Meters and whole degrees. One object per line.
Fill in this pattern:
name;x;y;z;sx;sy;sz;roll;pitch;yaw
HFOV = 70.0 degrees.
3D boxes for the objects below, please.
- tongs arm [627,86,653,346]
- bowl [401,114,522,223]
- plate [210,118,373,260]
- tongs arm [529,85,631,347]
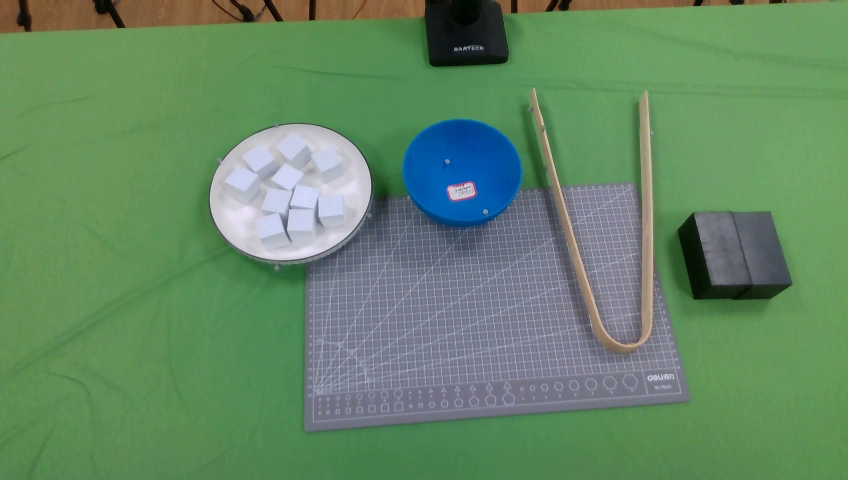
tongs arm;0.286;-0.046;0.803;0.028;0.028;0.385;11;65;-4
bowl;0.045;-0.079;0.782;0.151;0.077;0.150;1;65;-2
plate;-0.169;-0.065;0.792;0.208;0.039;0.206;0;65;0
tongs arm;0.199;-0.046;0.798;0.051;0.027;0.381;-4;66;-7
